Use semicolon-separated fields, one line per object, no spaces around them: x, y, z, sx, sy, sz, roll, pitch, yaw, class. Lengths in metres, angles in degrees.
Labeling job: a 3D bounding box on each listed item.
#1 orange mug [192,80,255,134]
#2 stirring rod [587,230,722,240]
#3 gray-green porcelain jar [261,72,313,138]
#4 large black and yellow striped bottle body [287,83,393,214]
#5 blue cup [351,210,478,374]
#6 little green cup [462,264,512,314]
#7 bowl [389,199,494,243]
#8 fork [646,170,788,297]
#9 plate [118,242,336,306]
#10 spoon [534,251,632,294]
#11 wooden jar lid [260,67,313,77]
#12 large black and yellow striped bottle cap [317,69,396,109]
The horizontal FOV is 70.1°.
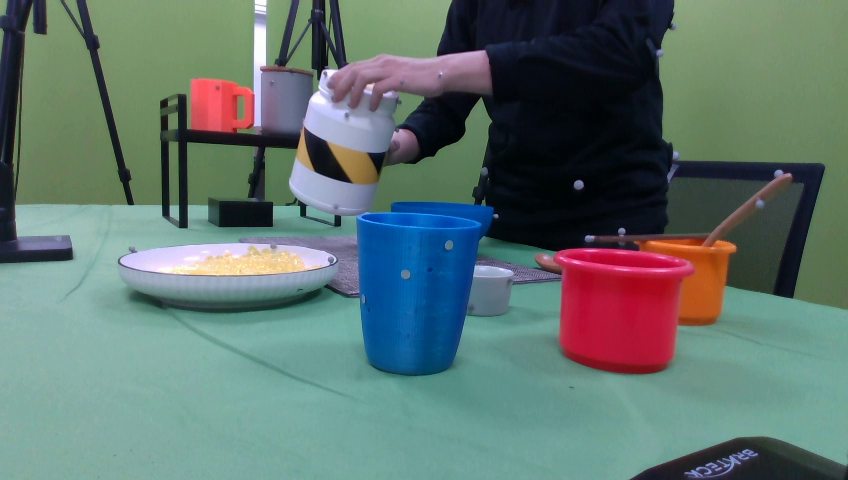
-0.389;-0.257;1.173;0.126;0.100;0.083;-1;7;9;orange mug
0.227;-0.006;0.585;0.177;0.006;0.014;-2;7;-28;stirring rod
-0.284;-0.276;1.253;0.106;0.126;0.106;2;8;0;gray-green porcelain jar
-0.123;-0.145;0.905;0.131;0.184;0.130;17;24;-7;large black and yellow striped bottle body
-0.009;0.034;0.414;0.093;0.100;0.092;4;8;0;blue cup
0.053;0.047;0.580;0.061;0.038;0.061;3;8;0;little green cup
0.024;-0.015;0.872;0.151;0.077;0.151;2;7;0;bowl
0.256;0.004;0.543;0.028;0.018;0.207;3;-36;-10;fork
-0.194;0.033;0.615;0.209;0.038;0.209;2;7;0;plate
0.193;0.038;0.753;0.042;0.021;0.193;14;2;-20;spoon
-0.283;-0.339;1.244;0.108;0.020;0.108;5;9;0;wooden jar lid
-0.096;-0.218;0.872;0.115;0.019;0.115;17;24;-8;large black and yellow striped bottle cap
